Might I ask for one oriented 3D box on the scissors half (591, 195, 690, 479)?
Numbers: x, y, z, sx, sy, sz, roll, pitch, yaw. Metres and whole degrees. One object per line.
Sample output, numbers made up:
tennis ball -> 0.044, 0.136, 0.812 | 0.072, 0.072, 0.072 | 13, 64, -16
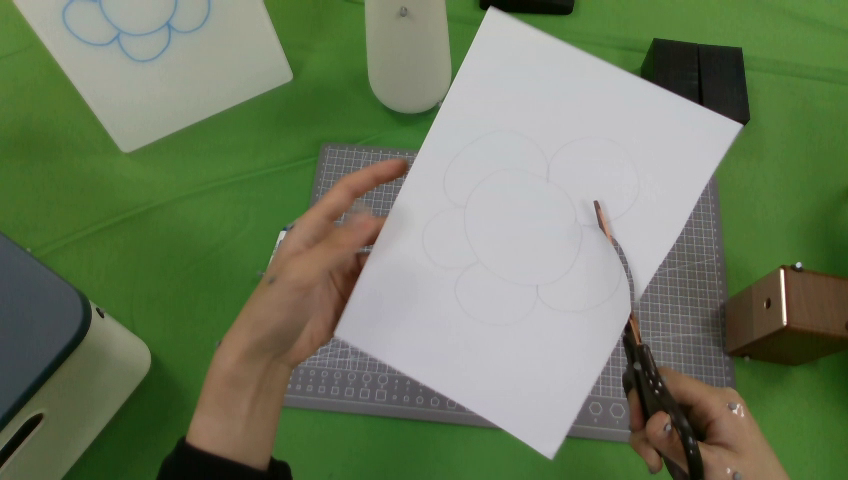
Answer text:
scissors half -> 0.121, 0.058, 0.342 | 0.013, 0.040, 0.175 | -18, 93, 0

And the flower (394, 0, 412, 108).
flower -> -0.029, -0.276, 0.573 | 0.044, 0.365, 0.038 | -1, 49, 4

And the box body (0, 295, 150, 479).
box body -> -0.469, 0.087, 0.533 | 0.362, 0.161, 0.253 | 31, 71, 12

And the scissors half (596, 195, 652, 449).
scissors half -> 0.121, 0.053, 0.362 | 0.013, 0.176, 0.039 | -17, 24, 5

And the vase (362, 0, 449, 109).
vase -> -0.022, -0.230, 0.644 | 0.098, 0.201, 0.097 | -1, 66, 2

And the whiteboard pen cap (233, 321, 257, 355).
whiteboard pen cap -> -0.177, 0.097, 0.603 | 0.018, 0.018, 0.033 | 11, 63, 6

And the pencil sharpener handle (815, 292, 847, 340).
pencil sharpener handle -> 0.390, 0.074, 0.553 | 0.030, 0.068, 0.035 | 10, 62, 1

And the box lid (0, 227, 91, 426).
box lid -> -0.472, 0.057, 0.465 | 0.370, 0.015, 0.262 | 31, 70, 12

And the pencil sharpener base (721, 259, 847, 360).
pencil sharpener base -> 0.339, 0.069, 0.566 | 0.077, 0.107, 0.061 | 10, 67, 1

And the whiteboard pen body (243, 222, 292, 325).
whiteboard pen body -> -0.165, 0.044, 0.627 | 0.017, 0.017, 0.140 | 12, 66, 6

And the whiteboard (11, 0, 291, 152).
whiteboard -> -0.311, -0.291, 0.646 | 0.217, 0.308, 0.142 | -27, 50, -10

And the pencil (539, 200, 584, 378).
pencil -> 0.143, 0.047, 0.628 | 0.012, 0.012, 0.192 | -8, 69, -2
